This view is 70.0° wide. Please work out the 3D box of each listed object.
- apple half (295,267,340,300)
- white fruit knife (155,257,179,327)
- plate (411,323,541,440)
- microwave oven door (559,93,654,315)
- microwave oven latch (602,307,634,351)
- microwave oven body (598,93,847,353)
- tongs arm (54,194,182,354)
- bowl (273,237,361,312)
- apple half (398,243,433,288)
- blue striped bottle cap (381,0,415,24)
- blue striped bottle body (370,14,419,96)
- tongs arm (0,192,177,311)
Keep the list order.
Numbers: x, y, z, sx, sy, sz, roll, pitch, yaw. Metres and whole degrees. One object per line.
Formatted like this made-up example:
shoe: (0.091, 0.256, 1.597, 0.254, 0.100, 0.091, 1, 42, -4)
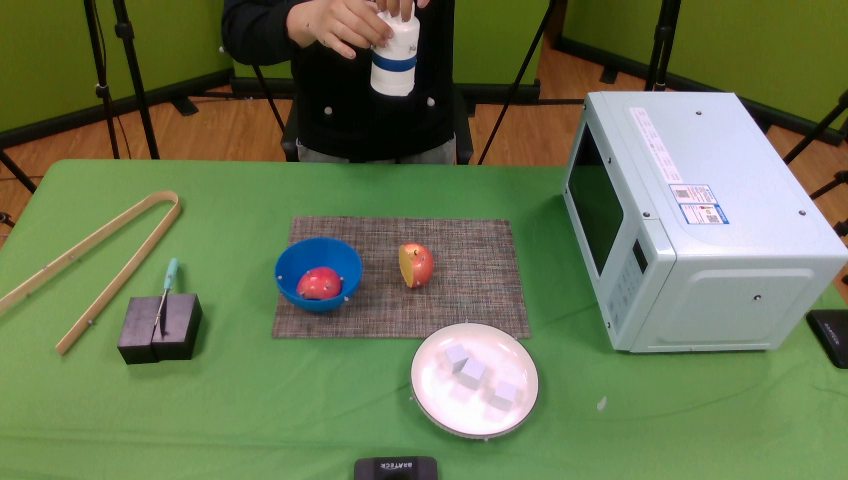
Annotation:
apple half: (-0.187, 0.070, 1.067, 0.081, 0.033, 0.081, 3, 47, -3)
white fruit knife: (-0.440, 0.085, 1.037, 0.016, 0.027, 0.206, 10, 26, -19)
plate: (0.082, 0.228, 0.976, 0.208, 0.039, 0.206, 2, 45, -2)
microwave oven door: (0.327, -0.074, 1.123, 0.039, 0.245, 0.353, -1, 46, -5)
microwave oven latch: (0.332, 0.153, 1.044, 0.030, 0.029, 0.078, -1, 45, -4)
microwave oven body: (0.475, -0.041, 1.109, 0.326, 0.261, 0.438, -1, 45, -4)
tongs arm: (-0.543, 0.048, 1.108, 0.028, 0.028, 0.385, 11, 45, 10)
bowl: (-0.186, 0.074, 1.069, 0.151, 0.077, 0.150, 3, 46, -3)
apple half: (-0.012, 0.046, 1.115, 0.053, 0.075, 0.080, -11, 44, -19)
blue striped bottle cap: (-0.034, -0.306, 0.805, 0.044, 0.021, 0.044, 6, 45, -5)
blue striped bottle body: (-0.041, -0.267, 0.839, 0.063, 0.121, 0.062, 5, 42, -4)
tongs arm: (-0.618, 0.019, 1.124, 0.050, 0.026, 0.384, 24, 47, 16)
